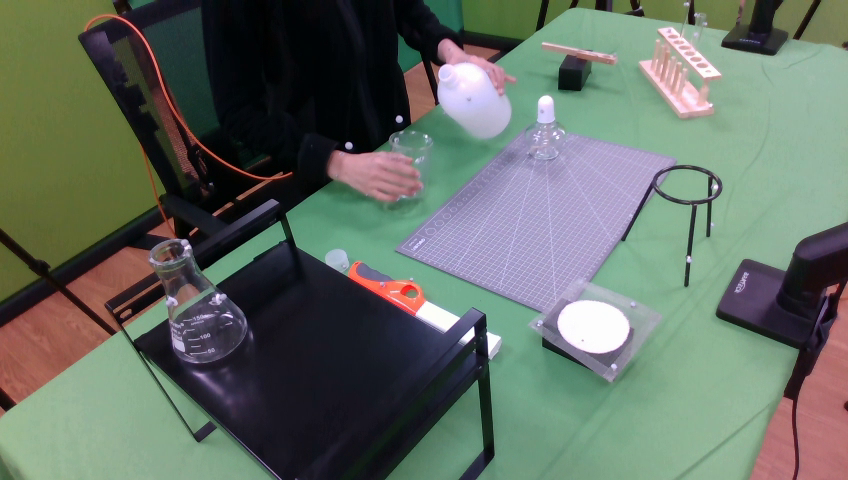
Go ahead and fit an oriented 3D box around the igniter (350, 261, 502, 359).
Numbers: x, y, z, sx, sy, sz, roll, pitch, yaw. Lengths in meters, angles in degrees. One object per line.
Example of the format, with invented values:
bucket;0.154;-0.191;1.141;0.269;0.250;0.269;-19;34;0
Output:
igniter;-0.009;0.094;0.870;0.274;0.025;0.057;25;60;33

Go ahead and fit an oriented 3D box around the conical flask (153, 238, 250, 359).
conical flask;-0.225;0.055;0.597;0.075;0.122;0.075;-5;41;4

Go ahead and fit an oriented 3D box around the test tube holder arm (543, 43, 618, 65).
test tube holder arm;0.344;-0.413;1.340;0.177;0.015;0.013;25;51;31

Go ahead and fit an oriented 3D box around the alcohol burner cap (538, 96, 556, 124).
alcohol burner cap;0.222;-0.237;1.095;0.034;0.048;0.033;-7;34;5

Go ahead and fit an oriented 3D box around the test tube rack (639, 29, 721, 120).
test tube rack;0.527;-0.351;1.262;0.067;0.085;0.241;-8;40;1

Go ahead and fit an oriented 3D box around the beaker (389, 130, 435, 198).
beaker;-0.021;-0.131;1.047;0.084;0.100;0.073;-20;42;-34

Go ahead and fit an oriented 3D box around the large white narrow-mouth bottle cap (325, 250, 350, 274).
large white narrow-mouth bottle cap;-0.138;0.035;0.966;0.038;0.024;0.037;-4;41;4

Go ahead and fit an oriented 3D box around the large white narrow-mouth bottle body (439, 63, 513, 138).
large white narrow-mouth bottle body;0.085;-0.263;1.100;0.101;0.196;0.101;-7;75;28

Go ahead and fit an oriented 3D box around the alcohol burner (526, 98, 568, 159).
alcohol burner;0.228;-0.210;1.118;0.078;0.119;0.077;-5;43;5

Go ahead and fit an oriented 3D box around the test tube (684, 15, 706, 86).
test tube;0.541;-0.378;1.215;0.017;0.151;0.017;-2;44;3

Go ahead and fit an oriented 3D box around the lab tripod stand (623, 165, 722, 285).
lab tripod stand;0.365;-0.030;0.874;0.148;0.132;0.147;-6;41;6

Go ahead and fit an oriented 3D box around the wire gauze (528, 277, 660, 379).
wire gauze;0.213;0.103;0.763;0.124;0.011;0.122;30;52;35

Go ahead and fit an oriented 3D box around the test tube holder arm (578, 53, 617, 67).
test tube holder arm;0.376;-0.393;1.314;0.087;0.015;0.010;26;51;32

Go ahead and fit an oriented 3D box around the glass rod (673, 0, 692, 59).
glass rod;0.537;-0.437;1.257;0.008;0.200;0.008;0;39;1
